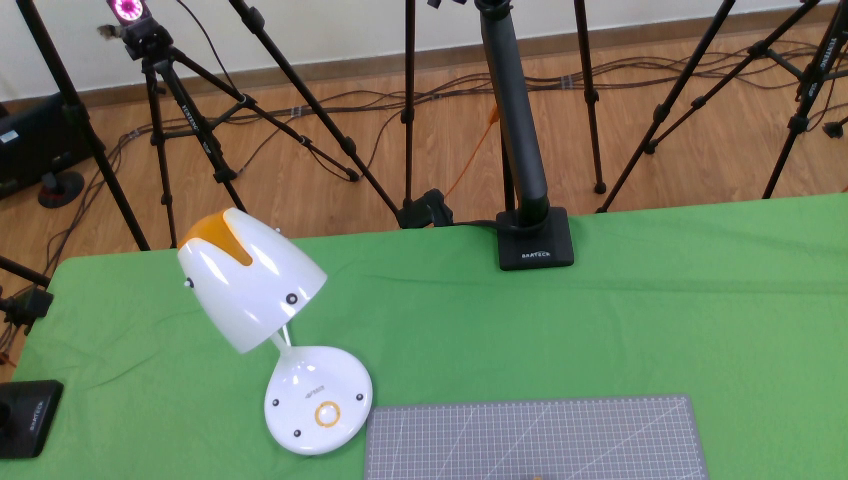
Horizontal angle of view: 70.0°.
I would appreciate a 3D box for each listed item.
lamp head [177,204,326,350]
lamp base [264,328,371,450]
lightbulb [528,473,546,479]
[{"bbox_3d":[-0.174,0.027,0.583,0.112,0.112,0.123,-45,99,-20],"label":"lamp head"},{"bbox_3d":[-0.176,0.179,0.836,0.160,0.182,0.177,-39,56,-17],"label":"lamp base"},{"bbox_3d":[0.149,0.341,0.752,0.059,0.060,0.106,-9,40,4],"label":"lightbulb"}]
